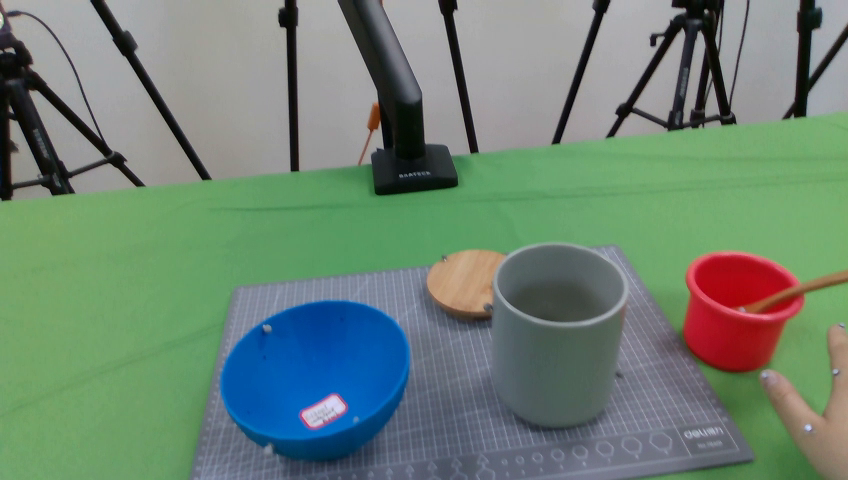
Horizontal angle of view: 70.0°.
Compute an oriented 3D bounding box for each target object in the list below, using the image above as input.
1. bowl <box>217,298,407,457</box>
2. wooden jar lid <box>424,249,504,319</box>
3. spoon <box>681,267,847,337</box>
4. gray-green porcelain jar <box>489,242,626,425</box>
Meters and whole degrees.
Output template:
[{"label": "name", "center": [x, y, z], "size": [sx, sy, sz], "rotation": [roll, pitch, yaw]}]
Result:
[{"label": "bowl", "center": [-0.086, 0.126, 0.505], "size": [0.151, 0.077, 0.150], "rotation": [-2, 35, 2]}, {"label": "wooden jar lid", "center": [0.054, 0.048, 0.656], "size": [0.108, 0.021, 0.107], "rotation": [-3, 34, 2]}, {"label": "spoon", "center": [0.317, 0.049, 0.529], "size": [0.022, 0.194, 0.041], "rotation": [50, 43, -6]}, {"label": "gray-green porcelain jar", "center": [0.107, 0.082, 0.509], "size": [0.106, 0.127, 0.105], "rotation": [-2, 35, 2]}]
